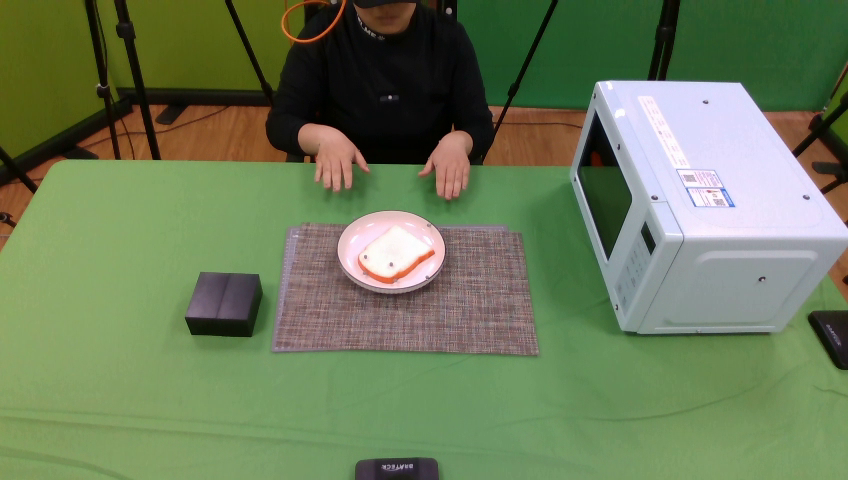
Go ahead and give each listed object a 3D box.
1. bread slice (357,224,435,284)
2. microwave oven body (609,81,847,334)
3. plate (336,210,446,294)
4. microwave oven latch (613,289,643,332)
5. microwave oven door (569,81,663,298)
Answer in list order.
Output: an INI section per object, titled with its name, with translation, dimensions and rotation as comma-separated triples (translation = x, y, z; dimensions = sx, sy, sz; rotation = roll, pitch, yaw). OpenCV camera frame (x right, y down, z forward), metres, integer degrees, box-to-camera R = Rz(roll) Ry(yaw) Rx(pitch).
[bread slice]
translation = -0.059, 0.028, 1.153
dimensions = 0.104, 0.019, 0.131
rotation = 34, 53, 26
[microwave oven body]
translation = 0.501, -0.070, 1.132
dimensions = 0.326, 0.261, 0.438
rotation = 0, 45, -3
[plate]
translation = -0.062, 0.026, 1.153
dimensions = 0.209, 0.038, 0.208
rotation = 3, 46, -2
[microwave oven latch]
translation = 0.357, 0.124, 1.068
dimensions = 0.030, 0.029, 0.078
rotation = 0, 45, -3
[microwave oven door]
translation = 0.353, -0.104, 1.147
dimensions = 0.039, 0.245, 0.353
rotation = 0, 46, -4
